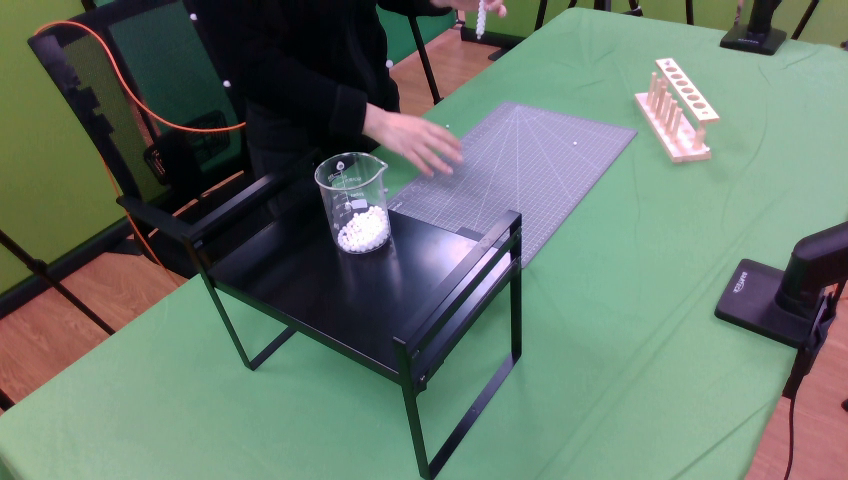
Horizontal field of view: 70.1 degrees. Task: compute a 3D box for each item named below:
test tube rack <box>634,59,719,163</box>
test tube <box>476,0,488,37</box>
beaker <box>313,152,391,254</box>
[{"bbox_3d":[0.470,-0.250,1.148,0.067,0.085,0.241,-6,40,3],"label":"test tube rack"},{"bbox_3d":[0.098,-0.401,0.981,0.017,0.150,0.017,2,46,-1],"label":"test tube"},{"bbox_3d":[-0.076,-0.041,0.697,0.084,0.101,0.073,-15,41,-10],"label":"beaker"}]
